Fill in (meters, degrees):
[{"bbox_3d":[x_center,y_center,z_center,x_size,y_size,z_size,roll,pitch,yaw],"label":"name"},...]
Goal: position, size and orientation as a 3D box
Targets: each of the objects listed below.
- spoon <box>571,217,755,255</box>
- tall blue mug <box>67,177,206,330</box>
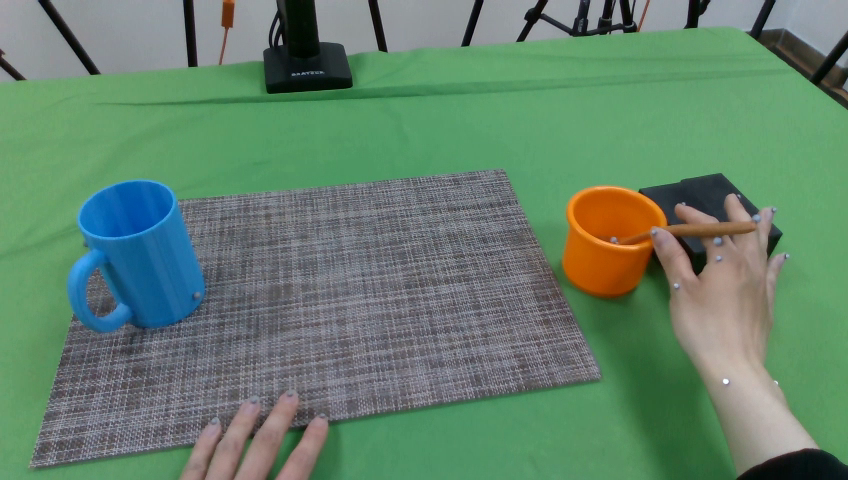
[{"bbox_3d":[0.202,-0.005,0.541,0.041,0.193,0.022,-31,96,-26],"label":"spoon"},{"bbox_3d":[-0.242,0.022,0.518,0.078,0.109,0.106,0,44,-4],"label":"tall blue mug"}]
